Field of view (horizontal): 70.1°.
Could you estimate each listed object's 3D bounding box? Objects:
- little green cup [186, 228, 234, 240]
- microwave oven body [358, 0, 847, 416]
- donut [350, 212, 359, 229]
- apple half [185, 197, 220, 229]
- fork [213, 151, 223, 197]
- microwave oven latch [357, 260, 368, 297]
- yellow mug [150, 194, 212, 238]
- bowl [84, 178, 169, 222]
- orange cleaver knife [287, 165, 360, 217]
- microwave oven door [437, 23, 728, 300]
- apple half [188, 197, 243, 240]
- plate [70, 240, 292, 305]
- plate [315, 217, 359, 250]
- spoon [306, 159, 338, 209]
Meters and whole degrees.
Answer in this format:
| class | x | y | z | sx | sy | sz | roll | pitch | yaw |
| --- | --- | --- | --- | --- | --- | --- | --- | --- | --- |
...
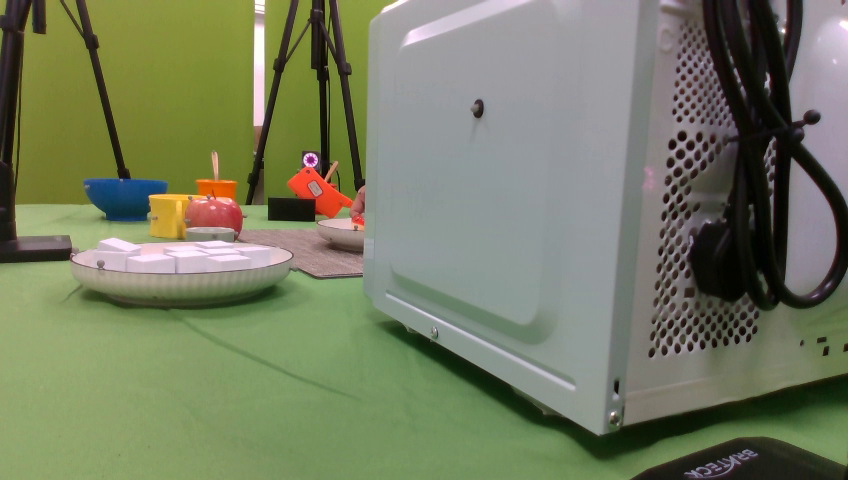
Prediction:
| class | x | y | z | sx | sy | sz | roll | pitch | yaw |
| --- | --- | --- | --- | --- | --- | --- | --- | --- | --- |
| little green cup | -0.284 | 0.005 | 0.805 | 0.061 | 0.038 | 0.061 | 2 | 8 | 0 |
| microwave oven body | 0.211 | -0.047 | 0.475 | 0.444 | 0.260 | 0.324 | -1 | 8 | -28 |
| donut | -0.070 | -0.022 | 0.964 | 0.099 | 0.048 | 0.099 | 5 | 7 | 0 |
| apple half | -0.338 | -0.031 | 0.927 | 0.032 | 0.081 | 0.081 | 12 | 12 | 31 |
| fork | -0.494 | -0.143 | 1.442 | 0.028 | 0.018 | 0.206 | -2 | 52 | -20 |
| microwave oven latch | -0.019 | 0.033 | 0.531 | 0.079 | 0.029 | 0.030 | -1 | 7 | -27 |
| yellow mug | -0.401 | -0.039 | 1.003 | 0.100 | 0.064 | 0.130 | 0 | 9 | -20 |
| bowl | -0.584 | -0.078 | 1.194 | 0.151 | 0.077 | 0.151 | 3 | 8 | 0 |
| orange cleaver knife | -0.211 | -0.093 | 1.382 | 0.212 | 0.077 | 0.012 | 33 | 1 | -15 |
| microwave oven door | 0.181 | -0.072 | 0.621 | 0.358 | 0.243 | 0.039 | -2 | 8 | -29 |
| apple half | -0.305 | -0.026 | 0.907 | 0.053 | 0.074 | 0.081 | 12 | 8 | 31 |
| plate | -0.242 | 0.031 | 0.618 | 0.208 | 0.039 | 0.207 | 2 | 8 | 0 |
| plate | -0.068 | -0.010 | 0.963 | 0.209 | 0.038 | 0.209 | 3 | 7 | 0 |
| spoon | -0.257 | -0.147 | 1.567 | 0.041 | 0.022 | 0.193 | 1 | 50 | 20 |
